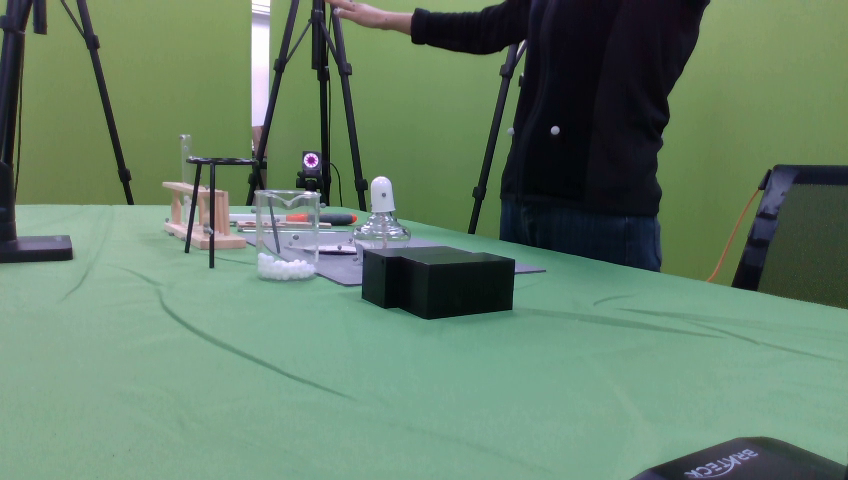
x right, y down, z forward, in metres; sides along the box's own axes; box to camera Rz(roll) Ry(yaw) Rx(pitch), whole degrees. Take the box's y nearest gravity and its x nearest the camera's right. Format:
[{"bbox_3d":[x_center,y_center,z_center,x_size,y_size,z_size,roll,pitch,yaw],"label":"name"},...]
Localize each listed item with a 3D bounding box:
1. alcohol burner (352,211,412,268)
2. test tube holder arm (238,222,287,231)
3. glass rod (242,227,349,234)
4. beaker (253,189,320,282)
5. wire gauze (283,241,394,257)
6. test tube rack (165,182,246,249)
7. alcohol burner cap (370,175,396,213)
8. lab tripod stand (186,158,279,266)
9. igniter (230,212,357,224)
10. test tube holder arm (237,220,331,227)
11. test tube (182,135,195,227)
[{"bbox_3d":[-0.055,-0.024,0.784,0.078,0.119,0.078,2,9,0],"label":"alcohol burner"},{"bbox_3d":[-0.297,-0.024,1.113,0.088,0.015,0.010,-2,45,-33],"label":"test tube holder arm"},{"bbox_3d":[-0.232,-0.017,1.110,0.201,0.008,0.008,2,6,-30],"label":"glass rod"},{"bbox_3d":[-0.156,-0.005,0.689,0.074,0.100,0.083,0,8,-13],"label":"beaker"},{"bbox_3d":[-0.127,0.012,0.894,0.126,0.011,0.121,1,6,-35],"label":"wire gauze"},{"bbox_3d":[-0.360,-0.045,0.982,0.067,0.085,0.241,-3,9,-34],"label":"test tube rack"},{"bbox_3d":[-0.055,-0.059,0.778,0.034,0.048,0.034,-7,10,2],"label":"alcohol burner cap"},{"bbox_3d":[-0.261,-0.042,0.796,0.148,0.131,0.148,3,9,0],"label":"lab tripod stand"},{"bbox_3d":[-0.271,-0.044,1.232,0.278,0.025,0.057,-2,-2,-27],"label":"igniter"},{"bbox_3d":[-0.261,-0.030,1.141,0.179,0.015,0.013,-3,45,-33],"label":"test tube holder arm"},{"bbox_3d":[-0.382,-0.095,0.983,0.017,0.150,0.017,-1,2,0],"label":"test tube"}]
